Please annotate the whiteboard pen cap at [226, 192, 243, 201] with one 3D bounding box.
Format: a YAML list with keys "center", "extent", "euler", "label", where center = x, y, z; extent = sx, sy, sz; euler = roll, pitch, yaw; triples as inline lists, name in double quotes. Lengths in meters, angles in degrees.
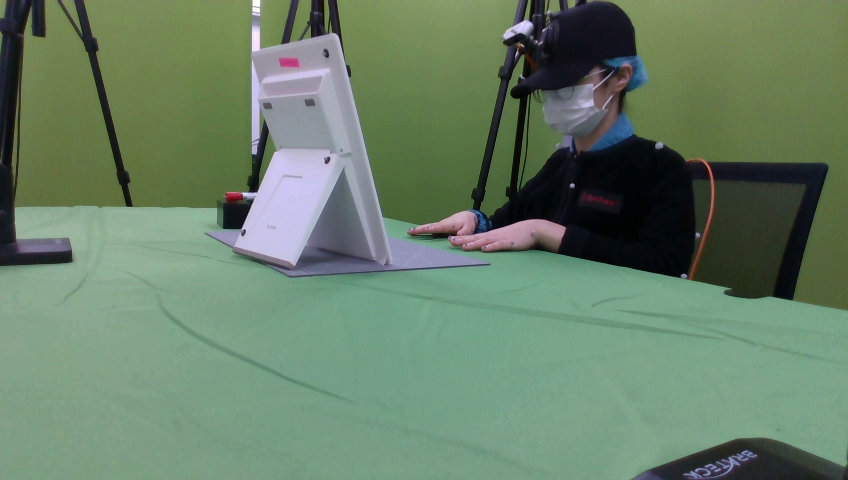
- center: [-0.379, -0.088, 1.215]
  extent: [0.032, 0.017, 0.017]
  euler: [-5, 10, -38]
  label: "whiteboard pen cap"

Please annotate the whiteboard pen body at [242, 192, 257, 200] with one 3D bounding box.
- center: [-0.331, -0.091, 1.248]
  extent: [0.141, 0.017, 0.017]
  euler: [-4, 9, -35]
  label: "whiteboard pen body"

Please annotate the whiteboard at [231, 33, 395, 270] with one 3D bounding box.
- center: [-0.193, -0.094, 0.805]
  extent: [0.144, 0.305, 0.216]
  euler: [-28, 25, -35]
  label: "whiteboard"
